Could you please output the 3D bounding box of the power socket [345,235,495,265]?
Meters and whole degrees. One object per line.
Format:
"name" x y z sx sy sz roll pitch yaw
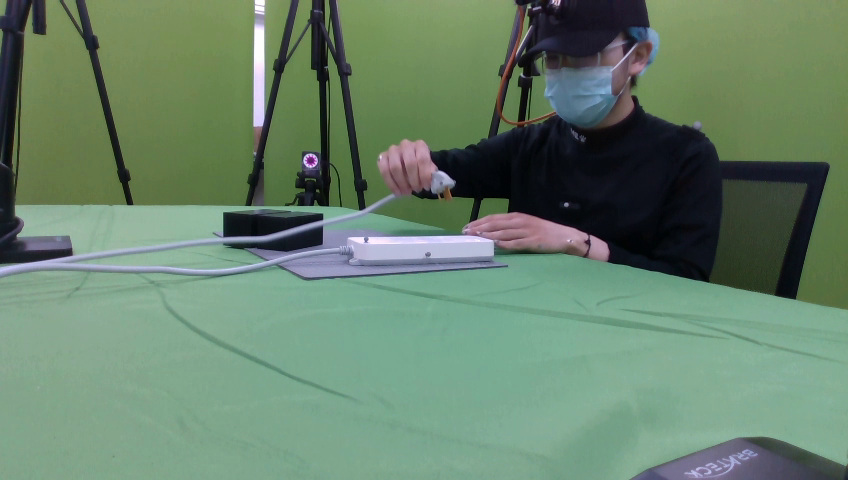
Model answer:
"power socket" -0.003 0.011 0.852 0.228 0.032 0.072 -2 7 -25

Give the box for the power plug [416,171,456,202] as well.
"power plug" 0.022 -0.076 0.915 0.035 0.052 0.072 -11 -12 -26
